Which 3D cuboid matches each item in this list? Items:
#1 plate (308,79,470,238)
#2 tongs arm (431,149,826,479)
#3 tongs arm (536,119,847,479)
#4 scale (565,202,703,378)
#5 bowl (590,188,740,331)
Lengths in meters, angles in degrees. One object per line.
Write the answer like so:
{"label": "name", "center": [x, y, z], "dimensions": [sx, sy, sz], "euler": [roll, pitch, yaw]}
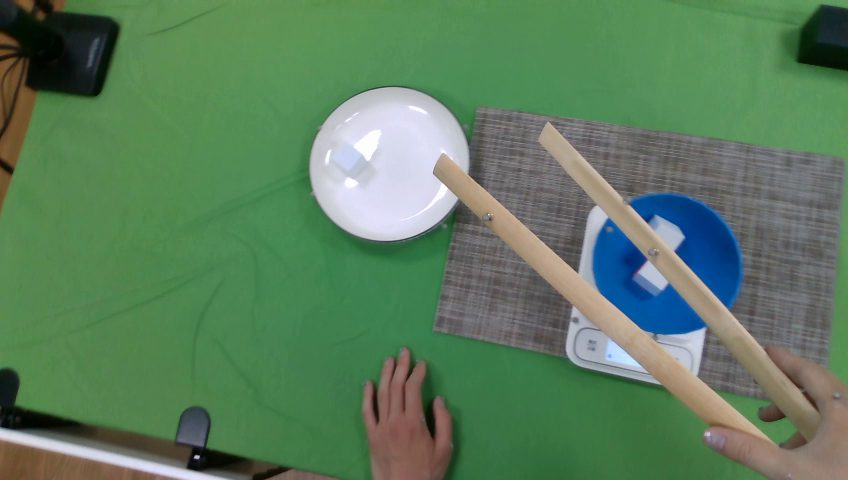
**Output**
{"label": "plate", "center": [-0.044, -0.102, 0.777], "dimensions": [0.207, 0.039, 0.206], "euler": [-1, 79, 6]}
{"label": "tongs arm", "center": [0.145, 0.054, 0.469], "dimensions": [0.385, 0.028, 0.028], "euler": [43, 43, 17]}
{"label": "tongs arm", "center": [0.203, 0.030, 0.515], "dimensions": [0.051, 0.026, 0.381], "euler": [-17, 59, -36]}
{"label": "scale", "center": [0.254, 0.055, 0.711], "dimensions": [0.148, 0.032, 0.200], "euler": [11, 81, 9]}
{"label": "bowl", "center": [0.253, 0.026, 0.663], "dimensions": [0.151, 0.077, 0.150], "euler": [-1, 80, 5]}
